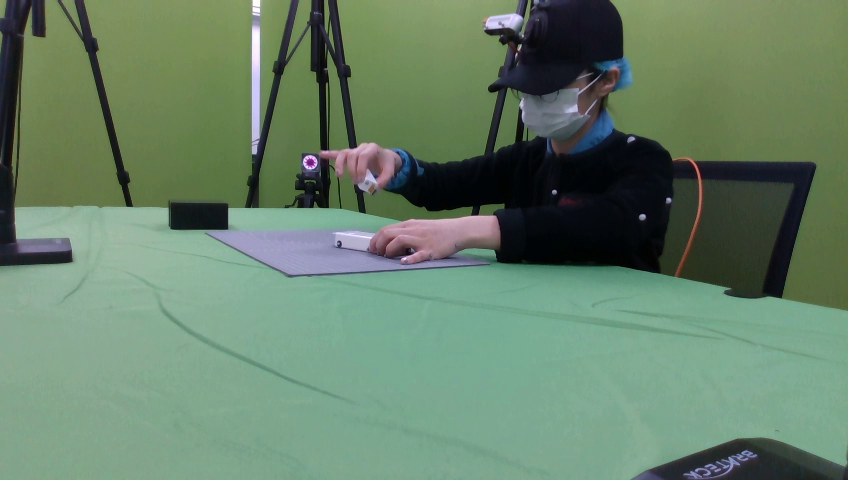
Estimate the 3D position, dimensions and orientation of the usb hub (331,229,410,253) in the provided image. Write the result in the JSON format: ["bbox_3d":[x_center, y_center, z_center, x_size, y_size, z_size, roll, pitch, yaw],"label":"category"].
[{"bbox_3d":[-0.085,0.001,0.946,0.124,0.025,0.050,6,9,36],"label":"usb hub"}]

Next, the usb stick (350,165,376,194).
[{"bbox_3d":[-0.098,-0.096,0.988,0.027,0.021,0.059,20,25,-42],"label":"usb stick"}]
